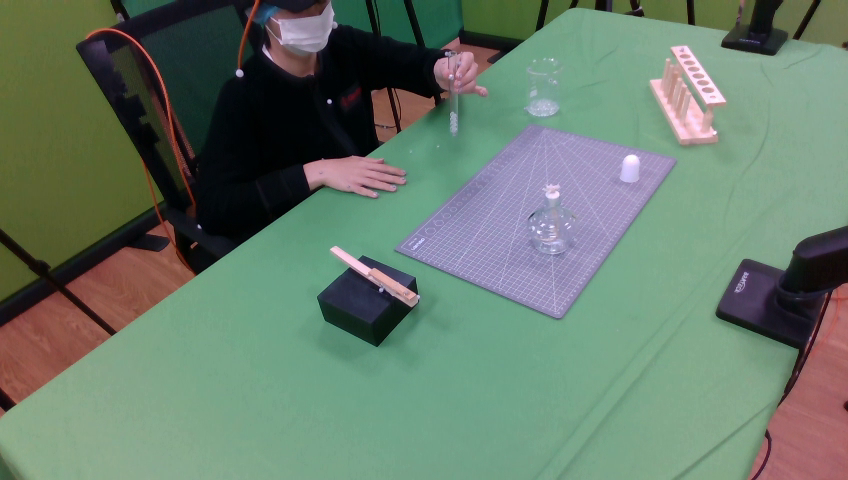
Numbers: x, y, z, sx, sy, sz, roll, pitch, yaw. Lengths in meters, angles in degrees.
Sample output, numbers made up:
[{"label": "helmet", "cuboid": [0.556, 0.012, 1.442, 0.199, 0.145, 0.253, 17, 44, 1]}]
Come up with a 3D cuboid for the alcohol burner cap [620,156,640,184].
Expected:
[{"label": "alcohol burner cap", "cuboid": [0.358, -0.124, 1.047, 0.034, 0.048, 0.033, -4, 40, 4]}]

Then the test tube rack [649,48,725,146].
[{"label": "test tube rack", "cuboid": [0.508, -0.285, 1.186, 0.067, 0.085, 0.241, -4, 40, 6]}]

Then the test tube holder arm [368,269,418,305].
[{"label": "test tube holder arm", "cuboid": [-0.043, 0.063, 0.827, 0.015, 0.010, 0.087, -36, 46, -29]}]

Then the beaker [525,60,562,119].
[{"label": "beaker", "cuboid": [0.248, -0.309, 1.245, 0.073, 0.101, 0.084, 30, 52, 36]}]

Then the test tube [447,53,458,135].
[{"label": "test tube", "cuboid": [0.050, -0.249, 1.044, 0.017, 0.151, 0.017, -2, 40, 2]}]

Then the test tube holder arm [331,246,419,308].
[{"label": "test tube holder arm", "cuboid": [-0.074, 0.050, 0.858, 0.015, 0.013, 0.177, -36, 47, -29]}]

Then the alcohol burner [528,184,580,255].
[{"label": "alcohol burner", "cuboid": [0.196, -0.036, 0.911, 0.078, 0.119, 0.077, -6, 41, 5]}]
